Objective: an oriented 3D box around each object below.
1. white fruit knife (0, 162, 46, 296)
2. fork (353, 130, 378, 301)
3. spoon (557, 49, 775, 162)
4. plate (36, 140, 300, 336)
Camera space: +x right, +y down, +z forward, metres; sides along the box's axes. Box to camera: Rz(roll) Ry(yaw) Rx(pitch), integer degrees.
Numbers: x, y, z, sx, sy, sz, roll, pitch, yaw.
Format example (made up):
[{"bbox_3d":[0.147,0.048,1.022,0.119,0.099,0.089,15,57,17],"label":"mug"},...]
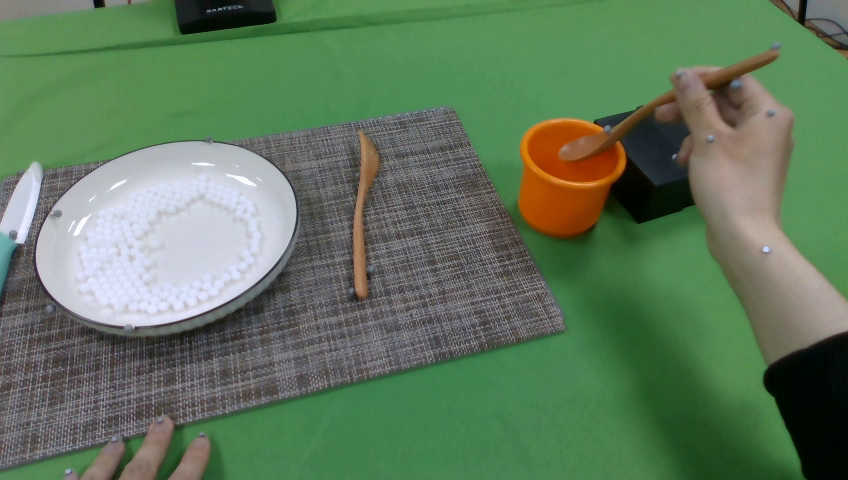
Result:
[{"bbox_3d":[-0.357,0.001,0.520,0.027,0.016,0.205,15,42,-27],"label":"white fruit knife"},{"bbox_3d":[-0.056,-0.031,0.556,0.018,0.028,0.205,-19,48,22],"label":"fork"},{"bbox_3d":[0.178,-0.101,0.478,0.022,0.193,0.041,50,56,-7],"label":"spoon"},{"bbox_3d":[-0.208,-0.004,0.514,0.209,0.038,0.207,1,49,-1],"label":"plate"}]
